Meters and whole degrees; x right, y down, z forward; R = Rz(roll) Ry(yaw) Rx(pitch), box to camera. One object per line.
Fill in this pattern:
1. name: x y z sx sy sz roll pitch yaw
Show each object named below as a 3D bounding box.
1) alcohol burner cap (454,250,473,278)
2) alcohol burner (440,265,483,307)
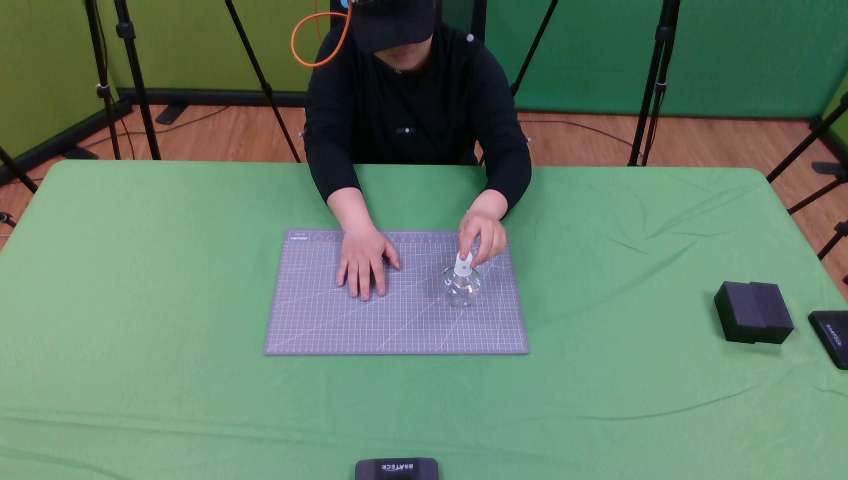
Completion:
1. alcohol burner cap: 0.069 0.038 1.048 0.034 0.048 0.033 1 43 -1
2. alcohol burner: 0.068 0.064 1.076 0.078 0.120 0.077 1 45 -1
